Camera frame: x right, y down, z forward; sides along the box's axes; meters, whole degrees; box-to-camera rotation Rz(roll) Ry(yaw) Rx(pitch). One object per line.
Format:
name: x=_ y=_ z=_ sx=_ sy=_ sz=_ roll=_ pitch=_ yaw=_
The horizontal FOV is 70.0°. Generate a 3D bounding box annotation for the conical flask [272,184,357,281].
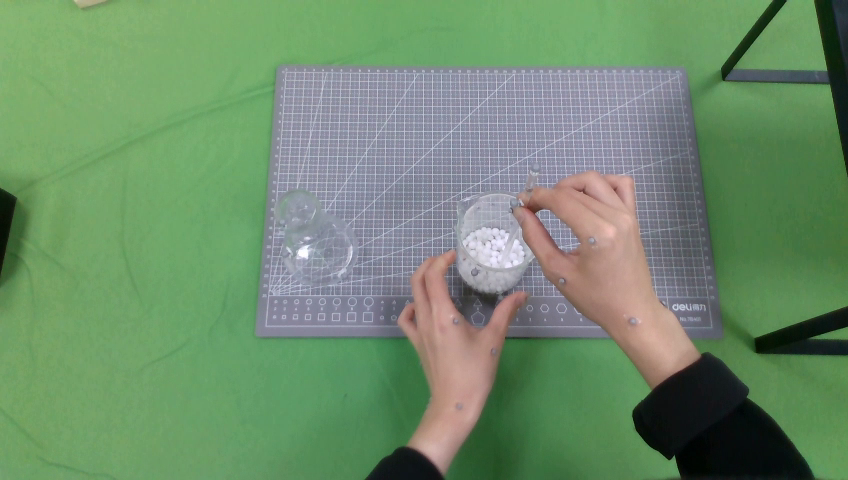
conical flask: x=-0.104 y=-0.011 z=0.549 sx=0.075 sy=0.122 sz=0.075 roll=0 pitch=72 yaw=0

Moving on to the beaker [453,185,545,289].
beaker: x=0.061 y=0.001 z=0.558 sx=0.083 sy=0.101 sz=0.074 roll=37 pitch=76 yaw=11

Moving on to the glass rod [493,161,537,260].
glass rod: x=0.071 y=-0.017 z=0.492 sx=0.008 sy=0.201 sz=0.008 roll=0 pitch=70 yaw=-1

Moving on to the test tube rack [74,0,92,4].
test tube rack: x=-0.294 y=-0.351 z=0.672 sx=0.242 sy=0.085 sz=0.066 roll=-20 pitch=74 yaw=-6
